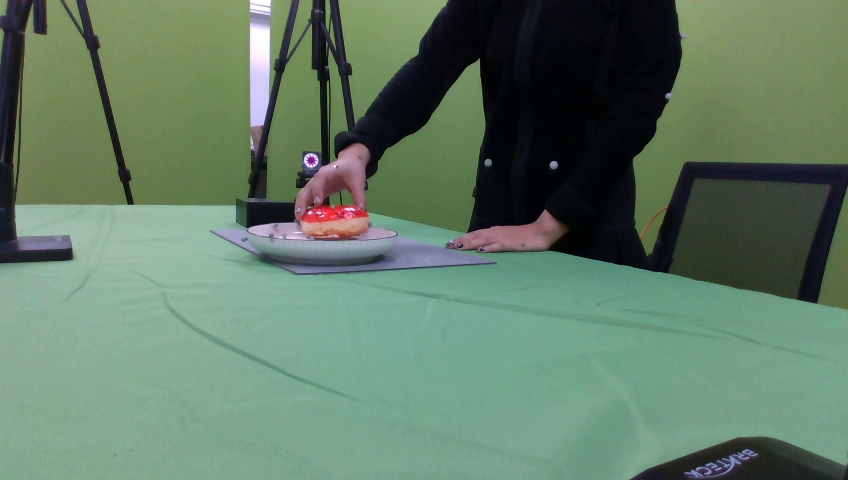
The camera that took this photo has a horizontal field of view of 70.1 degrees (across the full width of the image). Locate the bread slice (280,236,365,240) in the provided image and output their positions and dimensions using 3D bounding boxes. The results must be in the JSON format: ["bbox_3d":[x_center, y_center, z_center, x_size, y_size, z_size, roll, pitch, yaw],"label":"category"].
[{"bbox_3d":[-0.139,0.006,0.839,0.132,0.019,0.104,-3,8,-35],"label":"bread slice"}]

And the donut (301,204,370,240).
[{"bbox_3d":[-0.124,-0.027,0.851,0.099,0.048,0.099,-2,8,1],"label":"donut"}]

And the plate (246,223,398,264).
[{"bbox_3d":[-0.140,0.004,0.847,0.209,0.038,0.209,2,7,0],"label":"plate"}]
